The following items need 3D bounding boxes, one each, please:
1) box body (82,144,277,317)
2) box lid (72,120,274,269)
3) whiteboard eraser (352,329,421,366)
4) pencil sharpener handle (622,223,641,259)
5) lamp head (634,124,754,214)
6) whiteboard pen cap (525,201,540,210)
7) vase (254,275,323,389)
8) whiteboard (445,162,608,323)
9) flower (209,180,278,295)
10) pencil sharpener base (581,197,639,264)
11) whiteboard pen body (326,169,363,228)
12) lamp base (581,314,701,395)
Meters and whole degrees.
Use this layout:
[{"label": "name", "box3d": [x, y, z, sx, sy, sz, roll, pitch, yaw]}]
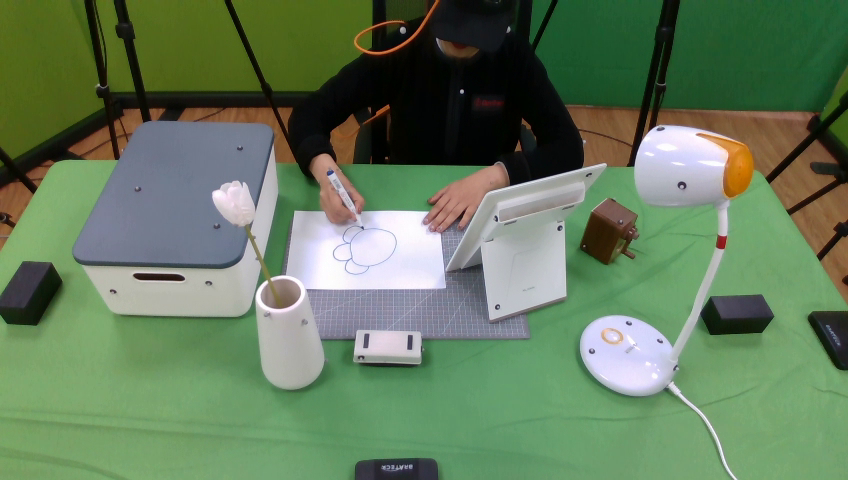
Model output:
[{"label": "box body", "box3d": [-0.422, -0.041, 1.108, 0.254, 0.161, 0.361, 2, 46, -3]}, {"label": "box lid", "box3d": [-0.417, -0.094, 1.056, 0.263, 0.015, 0.369, 1, 47, -3]}, {"label": "whiteboard eraser", "box3d": [-0.061, 0.180, 1.005, 0.113, 0.042, 0.055, 3, 48, -3]}, {"label": "pencil sharpener handle", "box3d": [0.397, 0.002, 1.146, 0.030, 0.068, 0.036, 37, 46, 27]}, {"label": "lamp head", "box3d": [0.351, -0.089, 0.776, 0.112, 0.113, 0.122, -30, 30, -28]}, {"label": "whiteboard pen cap", "box3d": [0.230, -0.074, 1.289, 0.033, 0.018, 0.018, 5, 46, 4]}, {"label": "vase", "box3d": [-0.209, 0.143, 0.921, 0.098, 0.201, 0.097, 1, 46, -1]}, {"label": "whiteboard", "box3d": [0.186, 0.025, 1.029, 0.217, 0.306, 0.143, -14, 68, -17]}, {"label": "flower", "box3d": [-0.216, 0.075, 0.871, 0.044, 0.363, 0.038, -29, 36, -19]}, {"label": "pencil sharpener base", "box3d": [0.362, -0.017, 1.179, 0.076, 0.107, 0.061, 37, 54, 27]}, {"label": "whiteboard pen body", "box3d": [-0.153, -0.079, 1.188, 0.017, 0.141, 0.017, -22, 29, 13]}, {"label": "lamp base", "box3d": [0.361, 0.144, 0.973, 0.178, 0.181, 0.160, 34, 53, 23]}]
